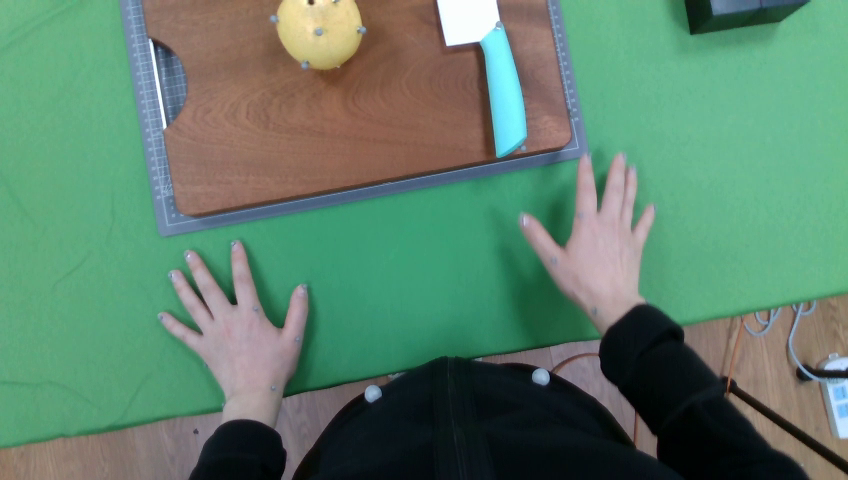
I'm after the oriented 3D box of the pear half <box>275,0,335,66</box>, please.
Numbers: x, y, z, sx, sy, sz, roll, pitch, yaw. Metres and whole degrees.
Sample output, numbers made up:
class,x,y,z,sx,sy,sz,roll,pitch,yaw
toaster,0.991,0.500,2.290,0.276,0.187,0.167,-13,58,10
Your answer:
class,x,y,z,sx,sy,sz,roll,pitch,yaw
pear half,-0.110,-0.203,0.551,0.056,0.110,0.076,-8,83,-1

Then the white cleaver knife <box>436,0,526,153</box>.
class,x,y,z,sx,sy,sz,roll,pitch,yaw
white cleaver knife,0.047,-0.224,0.605,0.066,0.021,0.285,-11,83,3

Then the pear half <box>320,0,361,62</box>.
class,x,y,z,sx,sy,sz,roll,pitch,yaw
pear half,-0.076,-0.206,0.562,0.031,0.088,0.070,-8,82,-2
